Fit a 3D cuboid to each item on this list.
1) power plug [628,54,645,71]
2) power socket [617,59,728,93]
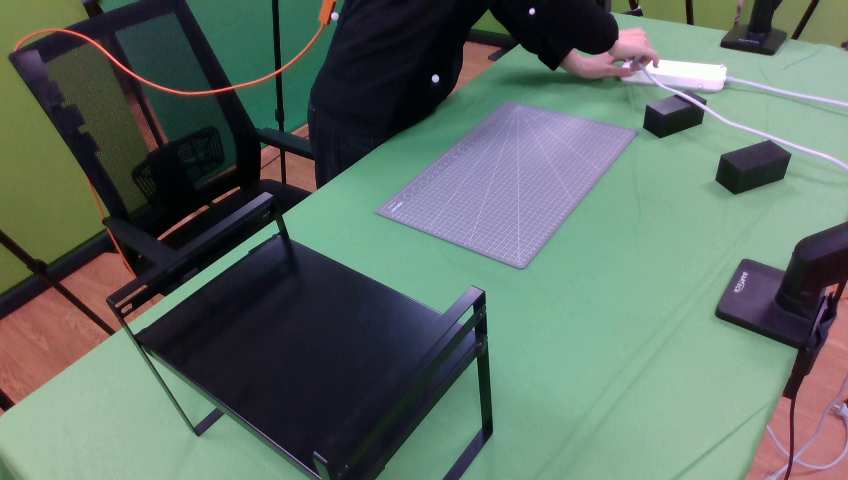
[{"bbox_3d":[0.450,-0.370,1.299,0.035,0.053,0.073,23,47,32],"label":"power plug"},{"bbox_3d":[0.533,-0.355,1.303,0.225,0.033,0.072,14,45,23],"label":"power socket"}]
